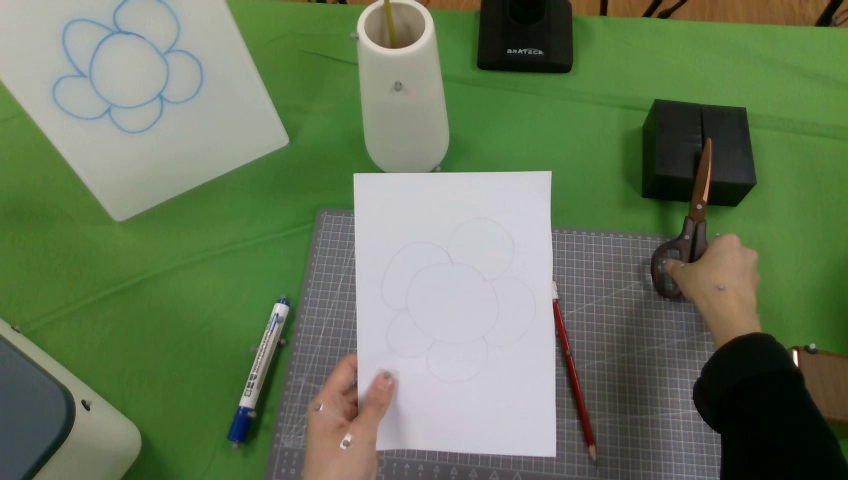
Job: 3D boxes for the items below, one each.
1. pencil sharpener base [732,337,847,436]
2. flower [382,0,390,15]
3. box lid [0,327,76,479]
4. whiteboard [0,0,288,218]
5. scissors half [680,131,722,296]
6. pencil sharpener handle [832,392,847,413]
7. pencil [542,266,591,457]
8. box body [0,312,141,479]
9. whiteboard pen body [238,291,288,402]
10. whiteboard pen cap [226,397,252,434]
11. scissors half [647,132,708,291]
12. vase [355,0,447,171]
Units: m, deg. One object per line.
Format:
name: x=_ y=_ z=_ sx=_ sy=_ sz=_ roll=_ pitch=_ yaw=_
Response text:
pencil sharpener base: x=0.338 y=0.134 z=0.542 sx=0.076 sy=0.108 sz=0.061 roll=9 pitch=65 yaw=2
flower: x=-0.033 y=-0.206 z=0.563 sx=0.044 sy=0.365 sz=0.038 roll=-2 pitch=48 yaw=4
box lid: x=-0.473 y=0.128 z=0.450 sx=0.370 sy=0.015 sz=0.262 roll=30 pitch=69 yaw=14
whiteboard: x=-0.314 y=-0.215 z=0.640 sx=0.217 sy=0.309 sz=0.142 roll=-27 pitch=48 yaw=-10
scissors half: x=0.292 y=-0.029 z=0.636 sx=0.040 sy=0.013 sz=0.175 roll=2 pitch=86 yaw=7
pencil sharpener handle: x=0.389 y=0.138 z=0.529 sx=0.030 sy=0.068 sz=0.035 roll=9 pitch=60 yaw=2
pencil: x=0.143 y=0.116 z=0.607 sx=0.012 sy=0.012 sz=0.192 roll=-8 pitch=67 yaw=-2
box body: x=-0.470 y=0.160 z=0.517 sx=0.362 sy=0.161 sz=0.253 roll=30 pitch=70 yaw=14
whiteboard pen body: x=-0.165 y=0.117 z=0.609 sx=0.017 sy=0.017 sz=0.140 roll=11 pitch=65 yaw=7
whiteboard pen cap: x=-0.177 y=0.168 z=0.583 sx=0.018 sy=0.018 sz=0.033 roll=12 pitch=61 yaw=7
scissors half: x=0.272 y=-0.032 z=0.637 sx=0.040 sy=0.013 sz=0.175 roll=19 pitch=87 yaw=2
vase: x=-0.025 y=-0.158 z=0.633 sx=0.098 sy=0.201 sz=0.097 roll=-1 pitch=64 yaw=2
